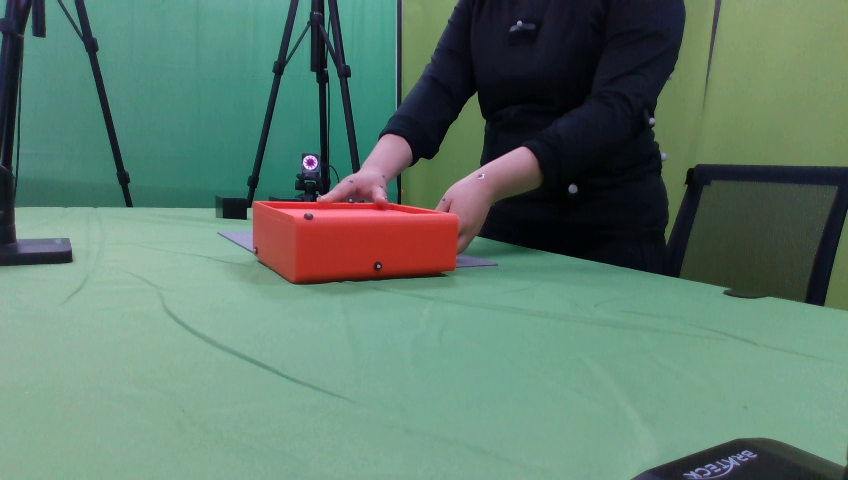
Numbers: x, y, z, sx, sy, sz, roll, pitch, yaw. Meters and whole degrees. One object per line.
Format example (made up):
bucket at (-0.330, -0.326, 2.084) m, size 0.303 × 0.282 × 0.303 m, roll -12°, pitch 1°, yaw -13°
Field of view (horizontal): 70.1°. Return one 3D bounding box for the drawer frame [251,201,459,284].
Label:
drawer frame at (-0.094, -0.005, 0.788) m, size 0.215 × 0.082 × 0.200 m, roll -2°, pitch 10°, yaw -29°

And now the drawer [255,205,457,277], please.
drawer at (-0.093, -0.004, 0.791) m, size 0.213 × 0.073 × 0.193 m, roll -3°, pitch 9°, yaw -29°

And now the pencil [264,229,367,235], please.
pencil at (-0.195, -0.013, 1.109) m, size 0.195 × 0.012 × 0.012 m, roll 0°, pitch 7°, yaw -28°
